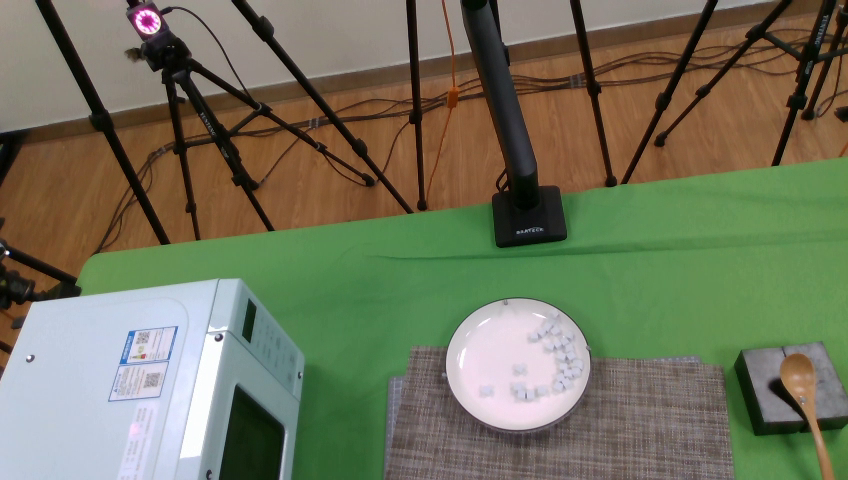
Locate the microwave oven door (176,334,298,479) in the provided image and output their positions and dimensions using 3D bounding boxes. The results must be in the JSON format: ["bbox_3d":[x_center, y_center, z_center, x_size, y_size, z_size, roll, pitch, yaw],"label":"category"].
[{"bbox_3d":[-0.223,0.322,0.715,0.039,0.246,0.352,-8,54,8],"label":"microwave oven door"}]

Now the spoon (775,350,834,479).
[{"bbox_3d":[0.468,0.229,0.731,0.041,0.022,0.192,-11,76,4],"label":"spoon"}]

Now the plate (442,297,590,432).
[{"bbox_3d":[0.132,0.180,0.876,0.209,0.038,0.207,-7,52,9],"label":"plate"}]

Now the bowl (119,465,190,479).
[{"bbox_3d":[-0.334,0.367,0.755,0.151,0.077,0.150,-6,53,9],"label":"bowl"}]

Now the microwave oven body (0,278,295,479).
[{"bbox_3d":[-0.366,0.310,0.764,0.326,0.263,0.437,-7,54,8],"label":"microwave oven body"}]

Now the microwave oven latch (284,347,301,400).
[{"bbox_3d":[-0.205,0.204,0.923,0.030,0.030,0.078,-7,54,8],"label":"microwave oven latch"}]
